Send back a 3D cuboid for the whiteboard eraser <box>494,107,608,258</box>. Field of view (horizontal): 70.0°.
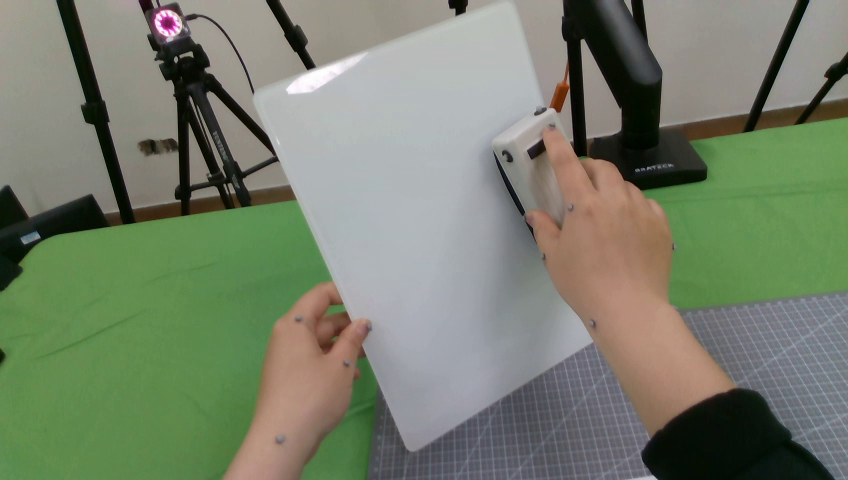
[{"bbox_3d":[0.100,-0.044,0.483,0.055,0.113,0.041,-35,20,-15],"label":"whiteboard eraser"}]

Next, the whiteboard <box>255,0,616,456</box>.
[{"bbox_3d":[0.006,-0.017,0.539,0.217,0.307,0.143,-26,17,-17],"label":"whiteboard"}]
